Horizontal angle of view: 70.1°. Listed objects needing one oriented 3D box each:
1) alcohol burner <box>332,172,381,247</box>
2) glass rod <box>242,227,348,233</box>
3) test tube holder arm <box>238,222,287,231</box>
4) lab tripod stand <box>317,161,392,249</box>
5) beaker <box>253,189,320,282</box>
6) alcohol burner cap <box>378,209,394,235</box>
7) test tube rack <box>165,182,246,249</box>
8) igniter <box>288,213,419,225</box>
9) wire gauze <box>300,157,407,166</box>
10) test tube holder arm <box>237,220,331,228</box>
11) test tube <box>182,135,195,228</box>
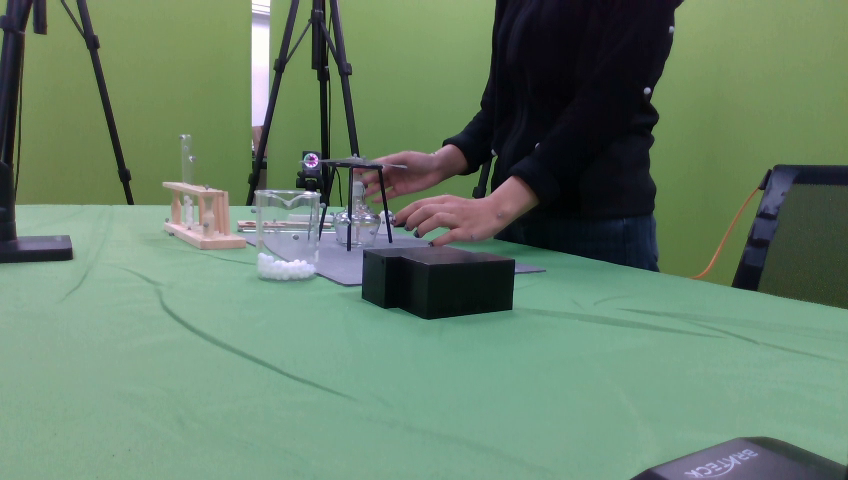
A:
[{"bbox_3d":[-0.107,-0.048,0.961,0.078,0.119,0.078,1,9,0],"label":"alcohol burner"},{"bbox_3d":[-0.232,-0.017,1.110,0.201,0.008,0.008,1,6,-30],"label":"glass rod"},{"bbox_3d":[-0.297,-0.024,1.113,0.088,0.015,0.010,-2,41,-32],"label":"test tube holder arm"},{"bbox_3d":[-0.111,-0.059,0.963,0.148,0.131,0.148,4,8,0],"label":"lab tripod stand"},{"bbox_3d":[-0.156,-0.005,0.689,0.074,0.100,0.083,0,8,-14],"label":"beaker"},{"bbox_3d":[-0.072,-0.035,1.145,0.034,0.048,0.034,2,7,0],"label":"alcohol burner cap"},{"bbox_3d":[-0.360,-0.045,0.982,0.067,0.085,0.241,-3,9,-34],"label":"test tube rack"},{"bbox_3d":[-0.145,-0.044,1.278,0.278,0.025,0.057,-1,-2,-21],"label":"igniter"},{"bbox_3d":[-0.112,-0.126,0.959,0.121,0.011,0.126,10,11,41],"label":"wire gauze"},{"bbox_3d":[-0.260,-0.029,1.141,0.179,0.015,0.013,-2,41,-32],"label":"test tube holder arm"},{"bbox_3d":[-0.382,-0.095,0.983,0.017,0.150,0.017,-1,2,0],"label":"test tube"}]
